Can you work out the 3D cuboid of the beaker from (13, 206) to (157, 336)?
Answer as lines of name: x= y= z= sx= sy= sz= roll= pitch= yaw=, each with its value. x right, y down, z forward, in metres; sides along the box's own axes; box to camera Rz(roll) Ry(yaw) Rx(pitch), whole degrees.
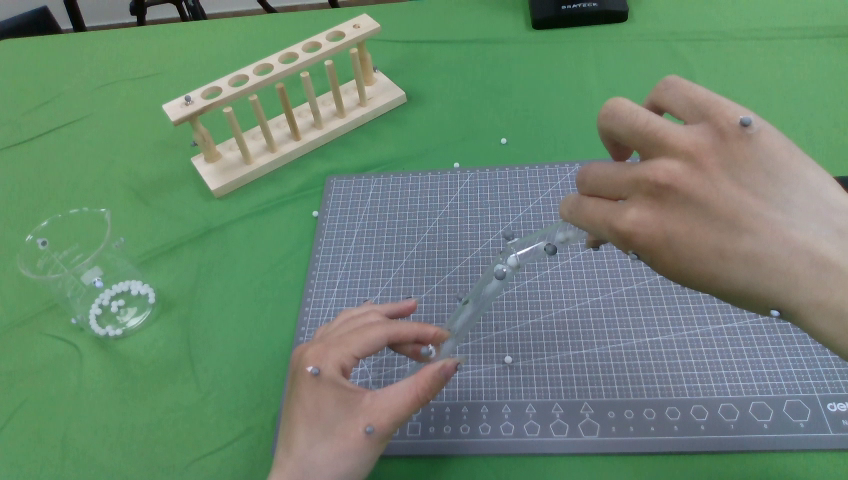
beaker: x=-0.283 y=0.029 z=0.523 sx=0.073 sy=0.101 sz=0.083 roll=20 pitch=55 yaw=22

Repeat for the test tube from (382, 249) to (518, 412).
test tube: x=0.012 y=0.063 z=0.385 sx=0.017 sy=0.151 sz=0.017 roll=25 pitch=31 yaw=-16

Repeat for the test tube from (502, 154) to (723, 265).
test tube: x=0.115 y=-0.020 z=0.361 sx=0.150 sy=0.017 sz=0.017 roll=-23 pitch=51 yaw=-11

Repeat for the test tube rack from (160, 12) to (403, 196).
test tube rack: x=-0.146 y=-0.151 z=0.661 sx=0.242 sy=0.086 sz=0.066 roll=-31 pitch=53 yaw=-17
